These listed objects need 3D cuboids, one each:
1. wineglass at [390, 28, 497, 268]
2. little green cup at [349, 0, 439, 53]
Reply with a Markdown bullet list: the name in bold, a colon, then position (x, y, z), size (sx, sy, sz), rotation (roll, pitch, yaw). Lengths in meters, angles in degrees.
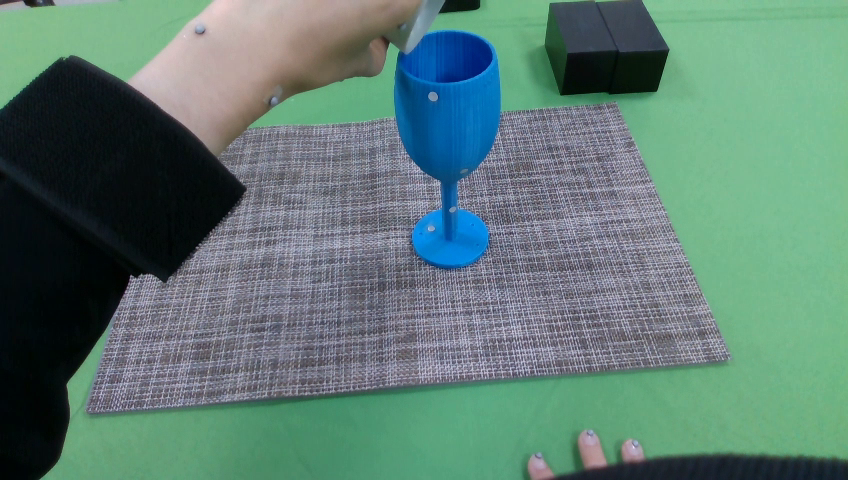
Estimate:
- **wineglass**: position (0.015, -0.058, 0.441), size (0.074, 0.174, 0.073), rotation (-1, 49, 2)
- **little green cup**: position (-0.014, -0.147, 0.356), size (0.038, 0.062, 0.061), rotation (33, 54, -3)
